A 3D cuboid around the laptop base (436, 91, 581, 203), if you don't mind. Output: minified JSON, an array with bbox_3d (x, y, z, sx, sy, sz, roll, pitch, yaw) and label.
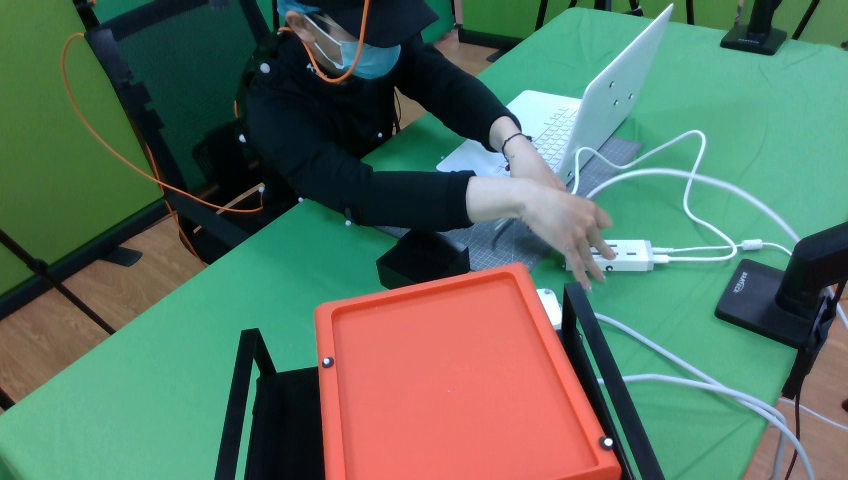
[{"bbox_3d":[0.214,-0.192,1.172,0.233,0.023,0.355,19,46,32],"label":"laptop base"}]

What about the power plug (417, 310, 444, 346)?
[{"bbox_3d":[0.007,0.123,0.785,0.035,0.053,0.072,0,40,7],"label":"power plug"}]

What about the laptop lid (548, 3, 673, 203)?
[{"bbox_3d":[0.320,-0.235,1.026,0.013,0.242,0.357,31,50,20],"label":"laptop lid"}]

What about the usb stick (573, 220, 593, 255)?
[{"bbox_3d":[0.234,0.003,0.888,0.021,0.059,0.027,-13,30,4],"label":"usb stick"}]

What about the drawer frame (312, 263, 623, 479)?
[{"bbox_3d":[0.021,0.130,0.493,0.202,0.083,0.212,-11,41,-6],"label":"drawer frame"}]

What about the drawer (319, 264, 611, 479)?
[{"bbox_3d":[0.020,0.129,0.497,0.195,0.073,0.210,-11,41,-5],"label":"drawer"}]

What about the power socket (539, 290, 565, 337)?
[{"bbox_3d":[0.081,0.112,0.822,0.227,0.033,0.072,-7,41,0],"label":"power socket"}]

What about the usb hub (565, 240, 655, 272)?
[{"bbox_3d":[0.275,0.023,0.904,0.125,0.025,0.049,1,41,8],"label":"usb hub"}]

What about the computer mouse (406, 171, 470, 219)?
[{"bbox_3d":[0.024,-0.082,1.049,0.063,0.041,0.116,-29,49,-28],"label":"computer mouse"}]
